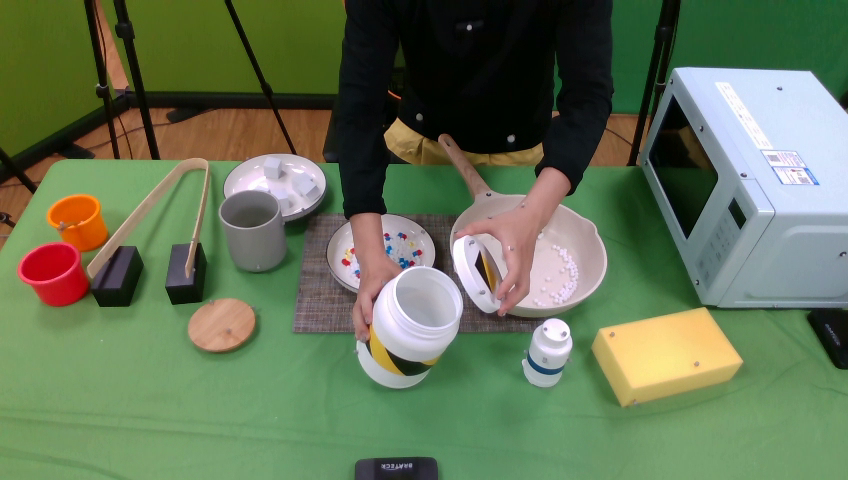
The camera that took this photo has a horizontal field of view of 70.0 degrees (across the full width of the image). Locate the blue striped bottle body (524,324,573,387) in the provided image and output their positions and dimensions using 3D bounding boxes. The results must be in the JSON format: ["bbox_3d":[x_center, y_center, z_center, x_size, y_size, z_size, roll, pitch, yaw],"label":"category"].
[{"bbox_3d":[0.200,0.178,0.970,0.063,0.121,0.062,2,46,-2],"label":"blue striped bottle body"}]

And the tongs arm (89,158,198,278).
[{"bbox_3d":[-0.529,-0.058,1.164,0.028,0.028,0.385,1,36,8],"label":"tongs arm"}]

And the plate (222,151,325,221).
[{"bbox_3d":[-0.310,-0.106,1.263,0.208,0.039,0.206,2,47,-2],"label":"plate"}]

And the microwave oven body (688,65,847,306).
[{"bbox_3d":[0.669,-0.111,1.176,0.326,0.261,0.439,0,46,-3],"label":"microwave oven body"}]

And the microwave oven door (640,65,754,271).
[{"bbox_3d":[0.524,-0.148,1.193,0.039,0.245,0.353,0,47,-3],"label":"microwave oven door"}]

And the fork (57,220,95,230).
[{"bbox_3d":[-0.624,-0.027,1.086,0.028,0.207,0.018,-3,92,-17],"label":"fork"}]

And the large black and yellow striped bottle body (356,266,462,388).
[{"bbox_3d":[-0.022,0.133,0.933,0.131,0.184,0.130,12,51,-15],"label":"large black and yellow striped bottle body"}]

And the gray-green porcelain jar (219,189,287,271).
[{"bbox_3d":[-0.310,-0.014,1.114,0.106,0.127,0.105,2,46,-2],"label":"gray-green porcelain jar"}]

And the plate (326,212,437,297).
[{"bbox_3d":[-0.080,0.030,1.143,0.209,0.038,0.208,3,46,-3],"label":"plate"}]

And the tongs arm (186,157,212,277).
[{"bbox_3d":[-0.445,-0.058,1.168,0.051,0.026,0.382,-5,37,-6],"label":"tongs arm"}]

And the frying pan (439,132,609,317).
[{"bbox_3d":[0.149,-0.049,1.189,0.307,0.103,0.484,-17,58,-20],"label":"frying pan"}]

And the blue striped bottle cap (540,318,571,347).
[{"bbox_3d":[0.203,0.142,0.933,0.044,0.021,0.044,3,49,-4],"label":"blue striped bottle cap"}]

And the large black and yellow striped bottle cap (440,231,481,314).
[{"bbox_3d":[0.049,0.045,0.837,0.019,0.115,0.114,3,45,-18],"label":"large black and yellow striped bottle cap"}]

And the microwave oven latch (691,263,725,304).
[{"bbox_3d":[0.521,0.081,1.116,0.030,0.029,0.078,0,46,-3],"label":"microwave oven latch"}]

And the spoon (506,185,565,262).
[{"bbox_3d":[0.224,-0.034,1.188,0.041,0.022,0.193,30,79,29],"label":"spoon"}]

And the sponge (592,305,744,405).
[{"bbox_3d":[0.405,0.190,1.015,0.207,0.061,0.117,-10,48,-13],"label":"sponge"}]

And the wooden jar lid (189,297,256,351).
[{"bbox_3d":[-0.342,0.145,1.033,0.108,0.021,0.107,2,45,-2],"label":"wooden jar lid"}]
